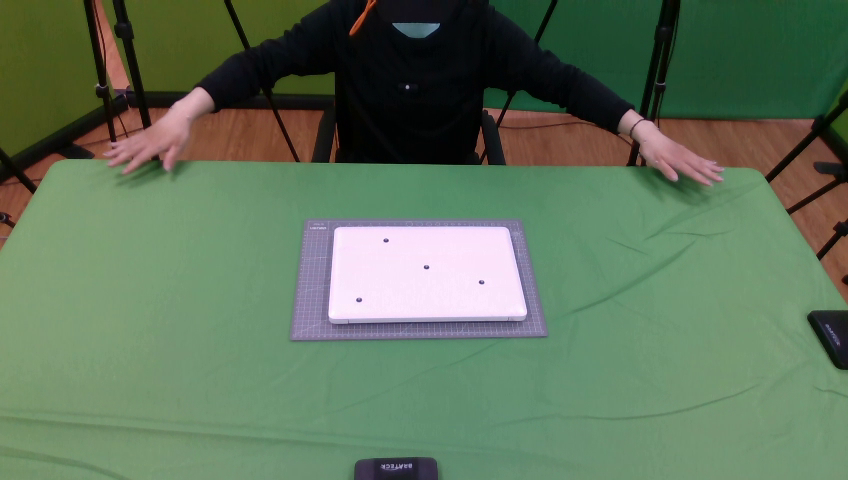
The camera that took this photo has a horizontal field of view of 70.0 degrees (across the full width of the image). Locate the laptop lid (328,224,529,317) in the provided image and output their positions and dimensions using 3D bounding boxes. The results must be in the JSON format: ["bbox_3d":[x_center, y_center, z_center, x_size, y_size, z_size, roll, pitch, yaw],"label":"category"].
[{"bbox_3d":[0.005,0.051,1.130,0.357,0.013,0.240,1,44,-3],"label":"laptop lid"}]

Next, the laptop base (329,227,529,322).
[{"bbox_3d":[0.005,0.061,1.137,0.355,0.023,0.234,0,43,-4],"label":"laptop base"}]
